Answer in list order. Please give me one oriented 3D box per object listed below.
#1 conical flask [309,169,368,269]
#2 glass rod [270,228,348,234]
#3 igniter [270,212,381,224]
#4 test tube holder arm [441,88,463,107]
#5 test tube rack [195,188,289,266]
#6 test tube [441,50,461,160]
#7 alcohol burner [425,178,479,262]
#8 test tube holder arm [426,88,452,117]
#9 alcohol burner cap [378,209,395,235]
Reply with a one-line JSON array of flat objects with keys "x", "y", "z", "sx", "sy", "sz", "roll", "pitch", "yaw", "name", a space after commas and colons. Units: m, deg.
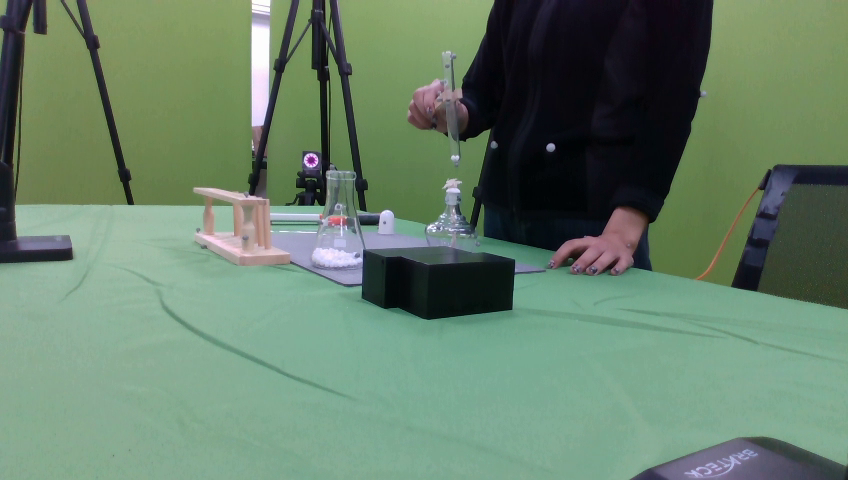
[{"x": -0.107, "y": -0.027, "z": 0.762, "sx": 0.075, "sy": 0.122, "sz": 0.075, "roll": 2, "pitch": 7, "yaw": 0, "name": "conical flask"}, {"x": -0.234, "y": -0.017, "z": 1.105, "sx": 0.201, "sy": 0.008, "sz": 0.008, "roll": 1, "pitch": 6, "yaw": -26, "name": "glass rod"}, {"x": -0.213, "y": -0.047, "z": 1.278, "sx": 0.278, "sy": 0.025, "sz": 0.057, "roll": -1, "pitch": -2, "yaw": -24, "name": "igniter"}, {"x": 0.036, "y": -0.200, "z": 0.856, "sx": 0.010, "sy": 0.015, "sz": 0.087, "roll": -3, "pitch": 4, "yaw": -17, "name": "test tube holder arm"}, {"x": -0.266, "y": -0.025, "z": 0.864, "sx": 0.067, "sy": 0.085, "sz": 0.241, "roll": -2, "pitch": 9, "yaw": -33, "name": "test tube rack"}, {"x": 0.038, "y": -0.185, "z": 0.833, "sx": 0.017, "sy": 0.150, "sz": 0.017, "roll": -5, "pitch": 3, "yaw": 1, "name": "test tube"}, {"x": 0.040, "y": -0.028, "z": 0.853, "sx": 0.078, "sy": 0.119, "sz": 0.078, "roll": 2, "pitch": 9, "yaw": 0, "name": "alcohol burner"}, {"x": 0.020, "y": -0.203, "z": 0.898, "sx": 0.013, "sy": 0.015, "sz": 0.178, "roll": -1, "pitch": 4, "yaw": -10, "name": "test tube holder arm"}, {"x": -0.070, "y": -0.035, "z": 1.144, "sx": 0.034, "sy": 0.048, "sz": 0.034, "roll": 2, "pitch": 8, "yaw": 0, "name": "alcohol burner cap"}]
